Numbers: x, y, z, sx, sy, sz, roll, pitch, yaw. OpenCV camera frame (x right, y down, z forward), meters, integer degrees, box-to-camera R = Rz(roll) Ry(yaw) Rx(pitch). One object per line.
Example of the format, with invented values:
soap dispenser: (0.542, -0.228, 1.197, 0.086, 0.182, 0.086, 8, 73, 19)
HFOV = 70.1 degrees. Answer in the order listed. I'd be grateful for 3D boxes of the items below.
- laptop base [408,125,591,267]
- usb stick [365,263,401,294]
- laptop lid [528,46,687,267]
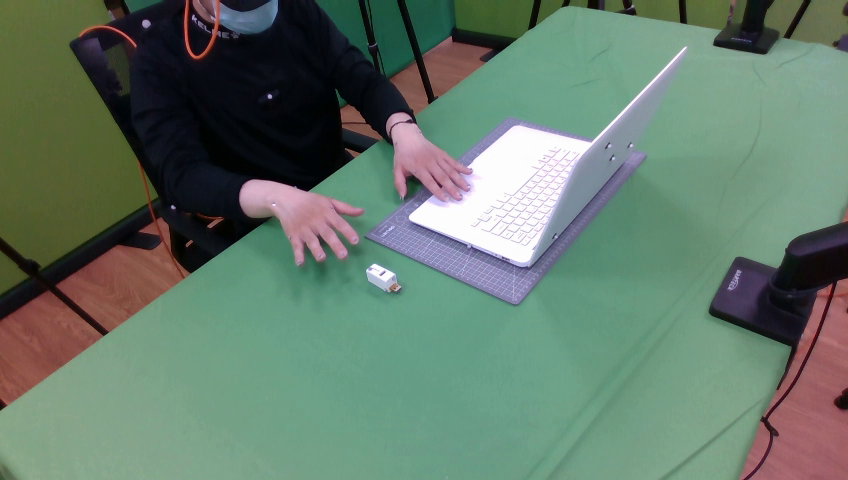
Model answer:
laptop base: (0.168, -0.092, 1.054, 0.233, 0.023, 0.355, 20, 47, 33)
usb stick: (-0.059, 0.060, 0.903, 0.058, 0.027, 0.021, 28, 51, 30)
laptop lid: (0.277, -0.126, 0.903, 0.013, 0.242, 0.358, 35, 53, 17)
